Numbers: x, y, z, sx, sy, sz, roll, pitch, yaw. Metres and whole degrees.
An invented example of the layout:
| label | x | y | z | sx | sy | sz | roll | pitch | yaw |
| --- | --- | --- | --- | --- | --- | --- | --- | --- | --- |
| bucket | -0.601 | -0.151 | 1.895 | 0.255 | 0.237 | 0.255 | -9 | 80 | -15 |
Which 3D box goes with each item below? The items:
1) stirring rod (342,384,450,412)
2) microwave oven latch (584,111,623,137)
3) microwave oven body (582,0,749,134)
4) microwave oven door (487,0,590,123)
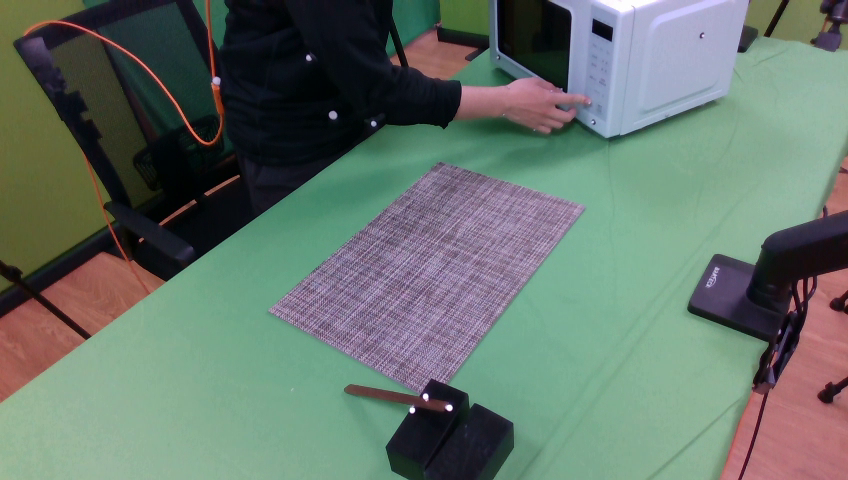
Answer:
| label | x | y | z | sx | sy | sz | roll | pitch | yaw |
| --- | --- | --- | --- | --- | --- | --- | --- | --- | --- |
| stirring rod | -0.038 | 0.185 | 0.714 | 0.175 | 0.006 | 0.014 | -3 | 22 | 43 |
| microwave oven latch | 0.337 | -0.222 | 1.142 | 0.030 | 0.029 | 0.078 | -21 | 42 | -14 |
| microwave oven body | 0.382 | -0.444 | 1.246 | 0.327 | 0.261 | 0.437 | -22 | 42 | -16 |
| microwave oven door | 0.232 | -0.420 | 1.231 | 0.039 | 0.245 | 0.352 | -22 | 43 | -16 |
